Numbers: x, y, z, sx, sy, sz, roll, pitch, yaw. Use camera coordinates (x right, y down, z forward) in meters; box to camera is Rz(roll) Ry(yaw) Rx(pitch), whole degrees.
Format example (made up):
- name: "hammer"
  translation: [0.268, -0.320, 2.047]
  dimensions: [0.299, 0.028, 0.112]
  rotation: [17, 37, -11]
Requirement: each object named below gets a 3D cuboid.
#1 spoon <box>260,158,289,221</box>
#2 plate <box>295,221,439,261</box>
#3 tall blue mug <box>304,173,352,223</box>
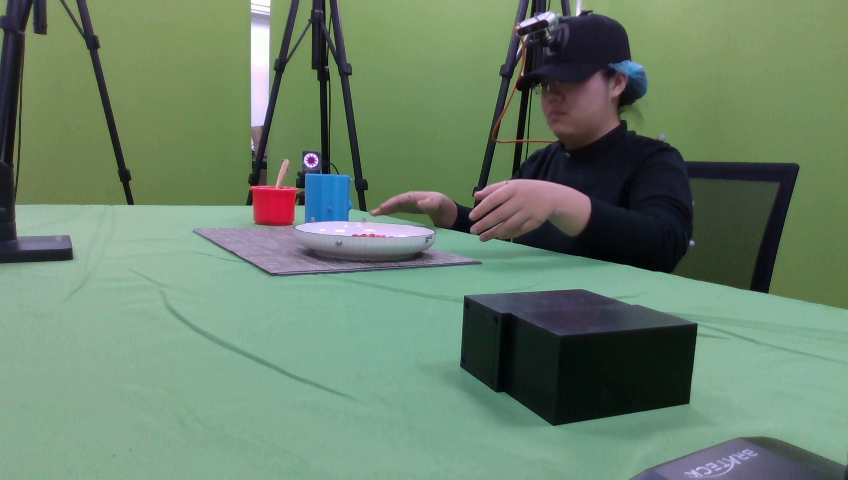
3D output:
- name: "spoon"
  translation: [-0.308, -0.110, 1.277]
  dimensions: [0.041, 0.022, 0.193]
  rotation: [-1, 51, 6]
- name: "plate"
  translation: [-0.083, 0.001, 0.885]
  dimensions: [0.208, 0.039, 0.207]
  rotation: [2, 7, 0]
- name: "tall blue mug"
  translation: [-0.178, -0.063, 1.062]
  dimensions: [0.078, 0.108, 0.106]
  rotation: [-5, 10, -38]
